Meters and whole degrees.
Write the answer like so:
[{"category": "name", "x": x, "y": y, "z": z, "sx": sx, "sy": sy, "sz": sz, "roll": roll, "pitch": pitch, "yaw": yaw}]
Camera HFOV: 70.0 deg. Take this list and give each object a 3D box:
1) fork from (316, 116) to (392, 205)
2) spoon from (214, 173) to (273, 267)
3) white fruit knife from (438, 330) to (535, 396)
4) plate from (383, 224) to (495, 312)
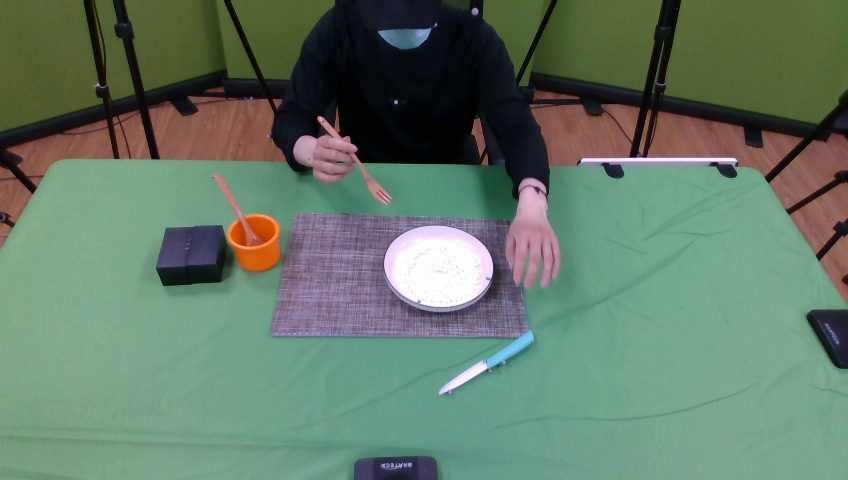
[{"category": "fork", "x": -0.130, "y": -0.147, "z": 1.127, "sx": 0.018, "sy": 0.208, "sz": 0.028, "roll": -16, "pitch": 28, "yaw": 48}, {"category": "spoon", "x": -0.336, "y": -0.037, "z": 1.121, "sx": 0.041, "sy": 0.194, "sz": 0.021, "roll": -29, "pitch": 10, "yaw": -25}, {"category": "white fruit knife", "x": 0.108, "y": 0.206, "z": 1.009, "sx": 0.207, "sy": 0.016, "sz": 0.027, "roll": -27, "pitch": 30, "yaw": -22}, {"category": "plate", "x": 0.026, "y": 0.055, "z": 1.128, "sx": 0.209, "sy": 0.038, "sz": 0.208, "roll": 2, "pitch": 46, "yaw": -2}]
